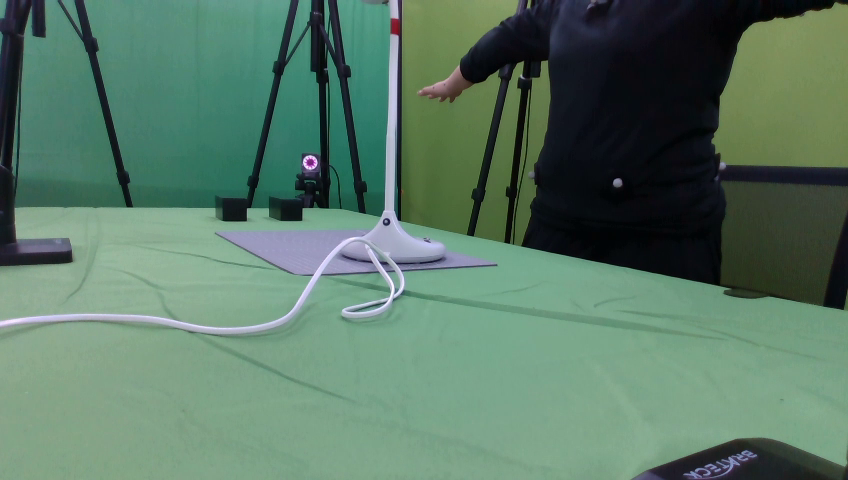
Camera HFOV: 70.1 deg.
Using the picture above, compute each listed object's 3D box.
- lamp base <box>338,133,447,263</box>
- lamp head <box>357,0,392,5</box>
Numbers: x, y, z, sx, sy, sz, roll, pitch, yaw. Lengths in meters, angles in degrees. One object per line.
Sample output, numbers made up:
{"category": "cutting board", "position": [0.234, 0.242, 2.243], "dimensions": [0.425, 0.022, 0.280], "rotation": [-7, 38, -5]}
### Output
{"category": "lamp base", "position": [-0.043, -0.062, 0.868], "dimensions": [0.161, 0.180, 0.179], "rotation": [2, 10, -3]}
{"category": "lamp head", "position": [-0.056, -0.383, 0.819], "dimensions": [0.113, 0.112, 0.122], "rotation": [0, 13, -22]}
